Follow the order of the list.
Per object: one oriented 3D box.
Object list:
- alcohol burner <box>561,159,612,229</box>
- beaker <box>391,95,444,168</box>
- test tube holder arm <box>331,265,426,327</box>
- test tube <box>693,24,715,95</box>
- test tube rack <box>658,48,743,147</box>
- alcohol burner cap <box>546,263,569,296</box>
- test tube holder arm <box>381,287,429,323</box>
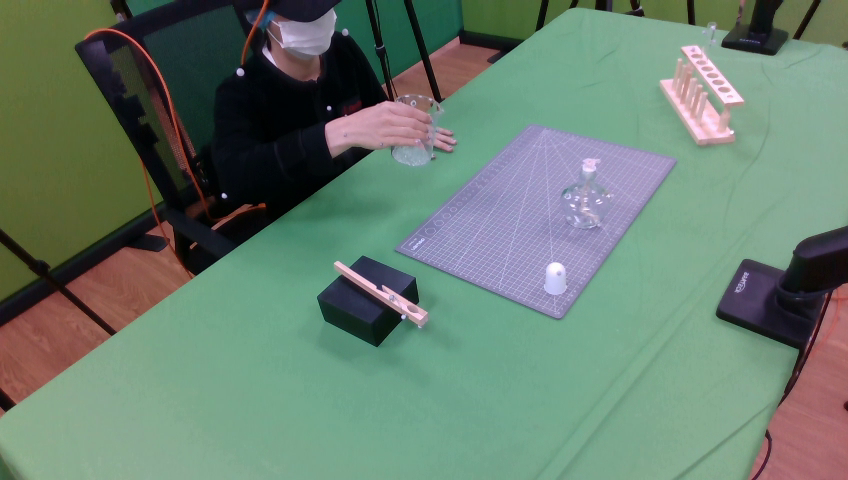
[{"bbox_3d":[0.257,-0.077,0.951,0.078,0.119,0.077,-3,40,3],"label":"alcohol burner"},{"bbox_3d":[-0.014,-0.176,0.994,0.084,0.100,0.073,4,37,-7],"label":"beaker"},{"bbox_3d":[-0.066,0.074,0.828,0.177,0.015,0.013,25,42,33],"label":"test tube holder arm"},{"bbox_3d":[0.543,-0.348,1.177,0.017,0.151,0.017,-5,45,5],"label":"test tube"},{"bbox_3d":[0.532,-0.284,1.181,0.067,0.085,0.241,-5,40,4],"label":"test tube rack"},{"bbox_3d":[0.191,0.053,0.862,0.034,0.048,0.033,-5,40,4],"label":"alcohol burner cap"},{"bbox_3d":[-0.028,0.087,0.807,0.087,0.015,0.010,25,42,33],"label":"test tube holder arm"}]
